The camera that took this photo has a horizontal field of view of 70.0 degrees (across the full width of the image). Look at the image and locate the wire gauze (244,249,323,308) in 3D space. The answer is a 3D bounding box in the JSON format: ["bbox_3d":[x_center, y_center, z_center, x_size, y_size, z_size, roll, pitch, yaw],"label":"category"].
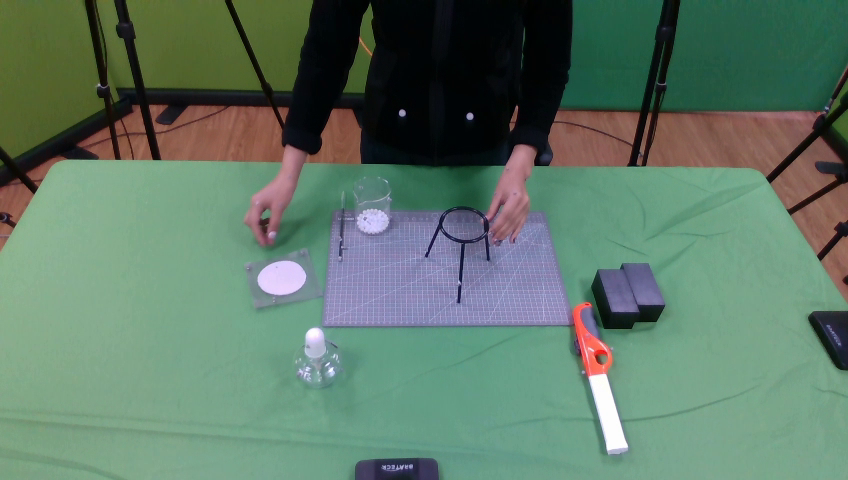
[{"bbox_3d":[-0.262,0.071,1.121,0.125,0.011,0.120,-11,48,-17],"label":"wire gauze"}]

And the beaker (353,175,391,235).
[{"bbox_3d":[-0.104,-0.065,1.196,0.074,0.101,0.084,24,50,19],"label":"beaker"}]

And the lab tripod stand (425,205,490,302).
[{"bbox_3d":[0.069,0.017,1.105,0.148,0.132,0.147,3,47,-3],"label":"lab tripod stand"}]

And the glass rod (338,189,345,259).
[{"bbox_3d":[-0.166,-0.037,1.226,0.008,0.008,0.198,0,47,-4],"label":"glass rod"}]

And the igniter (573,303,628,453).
[{"bbox_3d":[0.288,0.217,1.006,0.057,0.025,0.274,-10,46,8],"label":"igniter"}]

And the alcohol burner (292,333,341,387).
[{"bbox_3d":[-0.170,0.179,0.950,0.078,0.120,0.077,2,48,-2],"label":"alcohol burner"}]

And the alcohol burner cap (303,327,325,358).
[{"bbox_3d":[-0.169,0.154,0.924,0.034,0.048,0.033,4,42,-4],"label":"alcohol burner cap"}]
